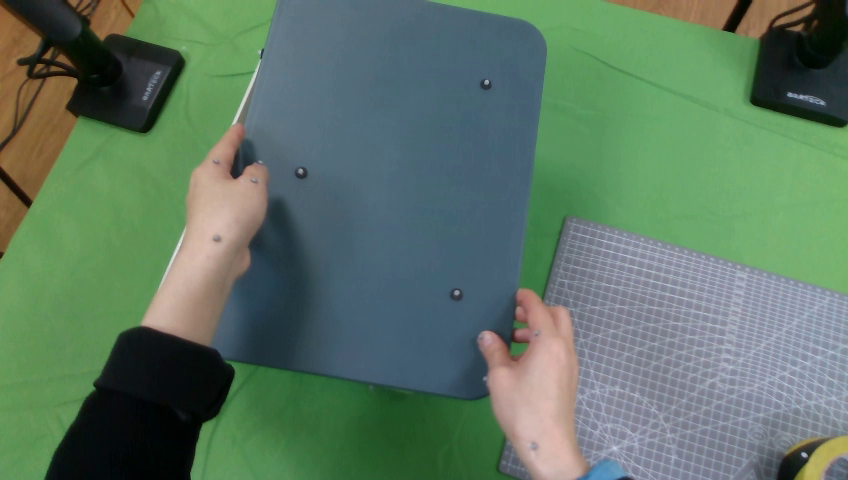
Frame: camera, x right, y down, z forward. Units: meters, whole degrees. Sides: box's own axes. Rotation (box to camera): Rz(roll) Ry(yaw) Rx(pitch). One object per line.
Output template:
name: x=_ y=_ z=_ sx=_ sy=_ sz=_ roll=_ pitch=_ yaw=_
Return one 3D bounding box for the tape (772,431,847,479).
tape: x=0.413 y=0.246 z=0.594 sx=0.117 sy=0.053 sz=0.116 roll=-1 pitch=72 yaw=3

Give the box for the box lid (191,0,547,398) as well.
box lid: x=-0.034 y=-0.063 z=0.540 sx=0.263 sy=0.015 sz=0.369 roll=10 pitch=73 yaw=-3

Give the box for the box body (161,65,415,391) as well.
box body: x=-0.068 y=-0.042 z=0.648 sx=0.254 sy=0.161 sz=0.362 roll=15 pitch=73 yaw=6
